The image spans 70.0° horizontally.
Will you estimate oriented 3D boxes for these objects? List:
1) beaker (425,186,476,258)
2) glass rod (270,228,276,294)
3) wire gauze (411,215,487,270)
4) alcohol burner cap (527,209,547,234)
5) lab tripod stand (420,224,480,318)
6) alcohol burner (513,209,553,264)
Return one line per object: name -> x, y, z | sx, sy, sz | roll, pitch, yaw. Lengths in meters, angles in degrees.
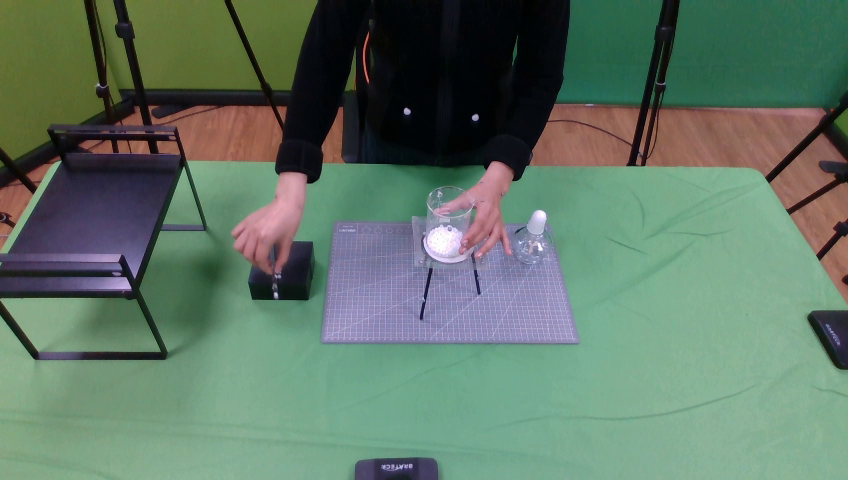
beaker -> 0.041, -0.027, 0.988 | 0.084, 0.101, 0.073 | -12, 48, -15
glass rod -> -0.266, 0.034, 1.070 | 0.008, 0.008, 0.198 | -7, 35, -11
wire gauze -> 0.041, 0.003, 1.026 | 0.125, 0.011, 0.120 | 0, 46, -2
alcohol burner cap -> 0.213, -0.038, 1.134 | 0.034, 0.048, 0.033 | 4, 51, -4
lab tripod stand -> 0.034, 0.052, 1.070 | 0.148, 0.132, 0.147 | 3, 48, -3
alcohol burner -> 0.210, -0.012, 1.159 | 0.078, 0.120, 0.077 | 1, 44, -1
